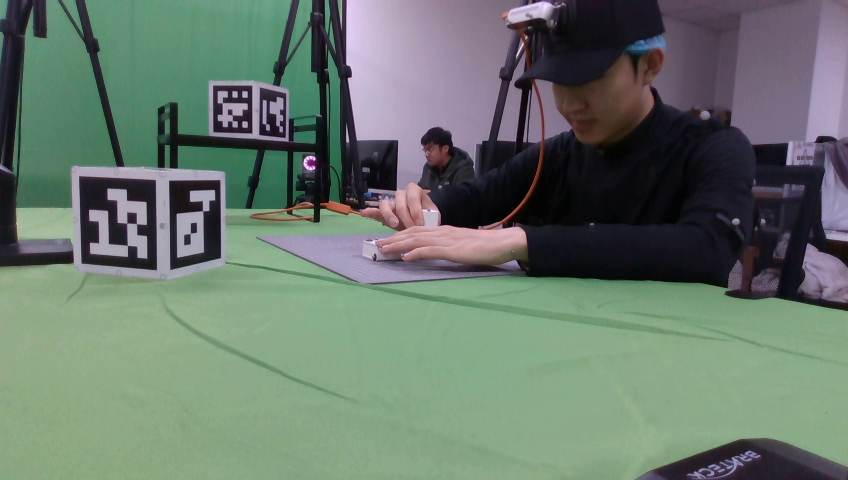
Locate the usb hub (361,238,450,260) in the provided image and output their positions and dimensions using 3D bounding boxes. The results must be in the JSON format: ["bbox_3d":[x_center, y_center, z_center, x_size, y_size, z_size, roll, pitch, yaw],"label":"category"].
[{"bbox_3d":[-0.026,0.013,0.894,0.126,0.025,0.049,-1,7,-32],"label":"usb hub"}]

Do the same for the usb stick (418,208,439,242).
[{"bbox_3d":[0.007,-0.017,0.900,0.021,0.059,0.027,-3,-3,-31],"label":"usb stick"}]
